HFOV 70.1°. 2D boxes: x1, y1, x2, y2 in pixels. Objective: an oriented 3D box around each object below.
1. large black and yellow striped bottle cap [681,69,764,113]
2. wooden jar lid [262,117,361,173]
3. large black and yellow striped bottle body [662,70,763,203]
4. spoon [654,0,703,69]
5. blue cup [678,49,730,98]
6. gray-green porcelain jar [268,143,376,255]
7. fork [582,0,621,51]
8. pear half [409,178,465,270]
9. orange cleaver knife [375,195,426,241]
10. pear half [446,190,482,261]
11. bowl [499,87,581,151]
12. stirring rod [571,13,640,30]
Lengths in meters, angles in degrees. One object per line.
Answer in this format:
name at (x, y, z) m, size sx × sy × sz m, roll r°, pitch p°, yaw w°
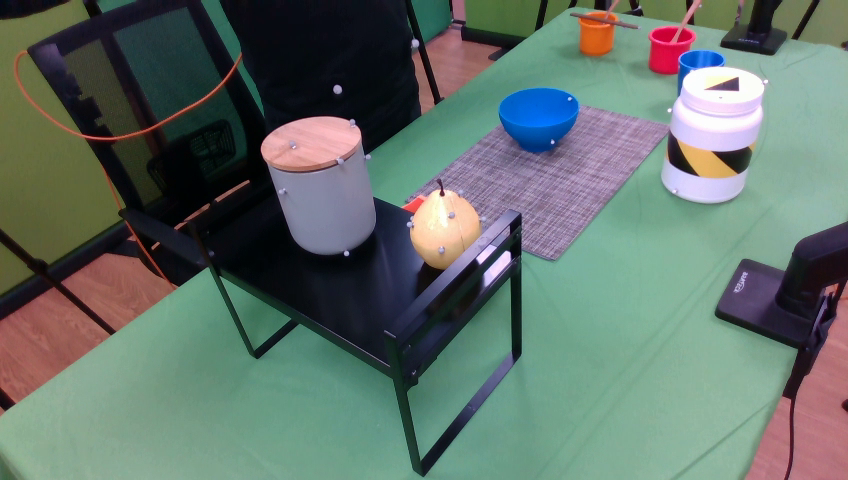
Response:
large black and yellow striped bottle cap at (0.453, -0.229, 0.921) m, size 0.115 × 0.019 × 0.114 m, roll -4°, pitch 39°, yaw 4°
wooden jar lid at (-0.122, -0.101, 0.663) m, size 0.108 × 0.021 × 0.108 m, roll -3°, pitch 39°, yaw 3°
large black and yellow striped bottle body at (0.464, -0.166, 0.976) m, size 0.131 × 0.185 × 0.130 m, roll -5°, pitch 41°, yaw 5°
spoon at (0.569, -0.462, 1.335) m, size 0.041 × 0.022 × 0.193 m, roll 34°, pitch 99°, yaw 37°
blue cup at (0.542, -0.310, 1.194) m, size 0.092 × 0.101 × 0.092 m, roll -6°, pitch 41°, yaw 6°
gray-green porcelain jar at (-0.114, -0.055, 0.704) m, size 0.106 × 0.127 × 0.105 m, roll -4°, pitch 40°, yaw 4°
fork at (0.445, -0.539, 1.438) m, size 0.207 × 0.019 × 0.028 m, roll -57°, pitch 36°, yaw 12°
pear half at (0.010, -0.019, 0.654) m, size 0.056 × 0.110 × 0.076 m, roll -17°, pitch 37°, yaw -9°
orange cleaver knife at (-0.037, -0.029, 0.973) m, size 0.210 × 0.077 × 0.012 m, roll -8°, pitch 33°, yaw 50°
pear half at (0.046, -0.020, 0.665) m, size 0.031 × 0.088 × 0.070 m, roll -17°, pitch 38°, yaw -8°
bowl at (0.220, -0.223, 1.156) m, size 0.151 × 0.077 × 0.150 m, roll -4°, pitch 40°, yaw 4°
stirring rod at (0.418, -0.508, 1.404) m, size 0.174 × 0.006 × 0.014 m, roll 28°, pitch 55°, yaw 35°
